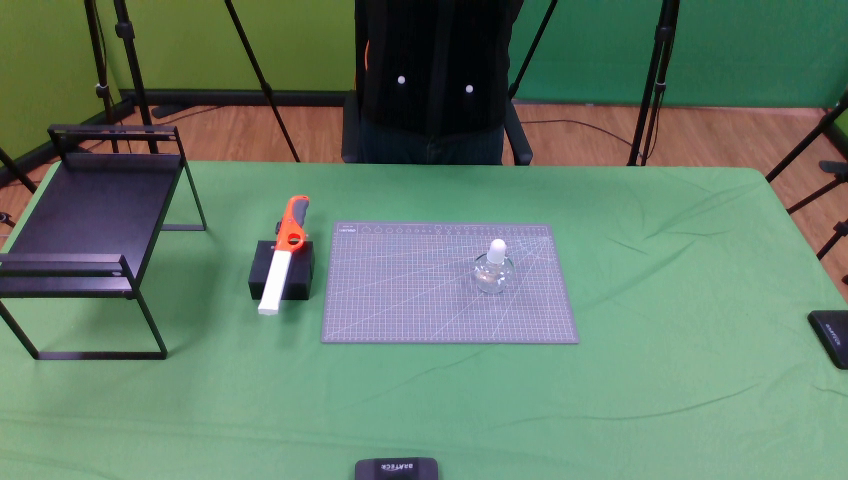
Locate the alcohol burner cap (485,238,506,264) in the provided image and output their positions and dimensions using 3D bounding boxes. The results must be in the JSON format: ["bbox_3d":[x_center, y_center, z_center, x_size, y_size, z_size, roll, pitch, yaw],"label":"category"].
[{"bbox_3d":[0.129,0.017,1.076,0.034,0.048,0.033,3,53,-4],"label":"alcohol burner cap"}]

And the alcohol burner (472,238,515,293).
[{"bbox_3d":[0.128,0.041,1.101,0.078,0.120,0.077,1,47,-1],"label":"alcohol burner"}]

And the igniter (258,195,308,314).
[{"bbox_3d":[-0.252,0.016,1.094,0.057,0.025,0.275,6,48,-3],"label":"igniter"}]
